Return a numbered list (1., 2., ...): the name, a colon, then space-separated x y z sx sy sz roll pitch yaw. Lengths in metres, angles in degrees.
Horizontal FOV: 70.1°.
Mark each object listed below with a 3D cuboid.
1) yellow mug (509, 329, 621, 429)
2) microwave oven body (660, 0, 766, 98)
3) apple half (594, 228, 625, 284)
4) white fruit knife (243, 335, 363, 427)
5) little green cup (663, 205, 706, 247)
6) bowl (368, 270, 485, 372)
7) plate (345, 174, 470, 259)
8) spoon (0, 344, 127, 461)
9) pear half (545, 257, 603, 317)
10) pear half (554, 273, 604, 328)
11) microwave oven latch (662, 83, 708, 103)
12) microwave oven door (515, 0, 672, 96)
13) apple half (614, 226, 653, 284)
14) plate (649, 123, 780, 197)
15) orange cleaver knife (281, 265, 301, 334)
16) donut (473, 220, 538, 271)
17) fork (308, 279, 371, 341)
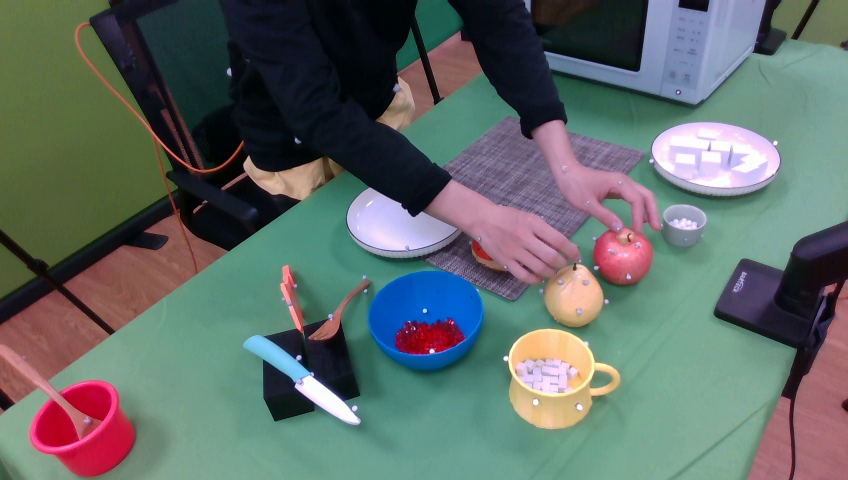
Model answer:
1. yellow mug: 0.168 0.164 0.721 0.130 0.064 0.099 1 40 8
2. microwave oven body: 0.472 -0.513 1.317 0.438 0.261 0.327 26 51 34
3. apple half: 0.259 0.026 0.864 0.033 0.081 0.081 -3 40 0
4. white fruit knife: -0.148 0.167 0.729 0.206 0.016 0.027 27 80 31
5. little green cup: 0.396 -0.020 0.926 0.061 0.039 0.061 -4 40 4
6. bowl: 0.007 0.119 0.792 0.151 0.077 0.150 -5 39 4
7. plate: -0.026 -0.037 1.004 0.209 0.038 0.208 -4 40 4
8. spoon: -0.433 0.191 0.721 0.194 0.021 0.042 47 52 -6
9. pear half: 0.198 0.056 0.811 0.076 0.110 0.055 -14 41 -12
10. pear half: 0.208 0.085 0.790 0.071 0.088 0.031 -14 39 -15
11. microwave oven latch: 0.518 -0.296 1.204 0.078 0.029 0.030 28 52 35
12. microwave oven door: 0.343 -0.454 1.259 0.353 0.245 0.039 26 51 33
13. apple half: 0.298 0.023 0.864 0.053 0.075 0.080 -3 37 1
14. plate: 0.497 -0.134 1.046 0.207 0.039 0.206 -4 40 4
15. orange cleaver knife: -0.188 0.081 0.862 0.012 0.077 0.210 -19 12 -9
16. donut: 0.124 0.007 0.924 0.099 0.048 0.098 -6 39 6
17. fork: -0.109 0.093 0.832 0.028 0.018 0.207 -3 20 15
